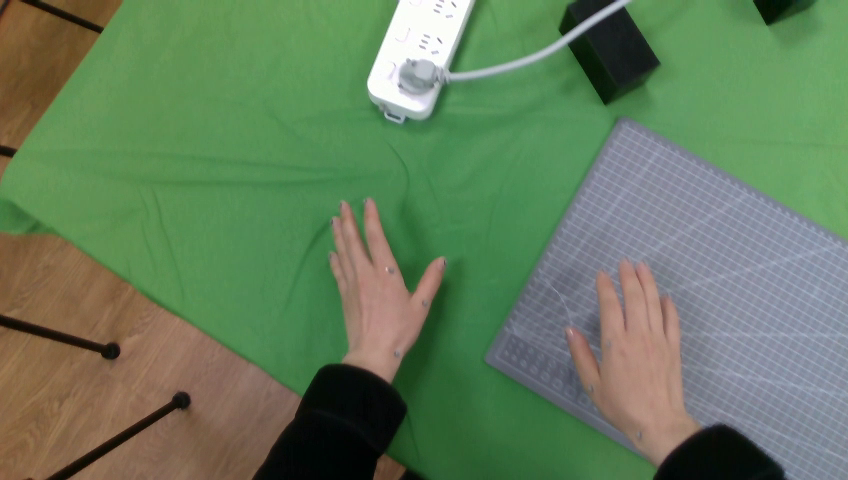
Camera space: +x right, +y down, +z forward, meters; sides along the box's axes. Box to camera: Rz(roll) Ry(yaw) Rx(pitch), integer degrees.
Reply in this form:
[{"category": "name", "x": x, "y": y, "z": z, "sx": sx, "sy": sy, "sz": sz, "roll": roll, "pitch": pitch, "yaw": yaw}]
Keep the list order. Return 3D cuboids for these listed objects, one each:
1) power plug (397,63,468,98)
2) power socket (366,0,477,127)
[{"category": "power plug", "x": 0.005, "y": -0.154, "z": 0.619, "sx": 0.072, "sy": 0.053, "sz": 0.035, "roll": 32, "pitch": 84, "yaw": 5}, {"category": "power socket", "x": 0.006, "y": -0.230, "z": 0.650, "sx": 0.072, "sy": 0.032, "sz": 0.226, "roll": 22, "pitch": 83, "yaw": 2}]
